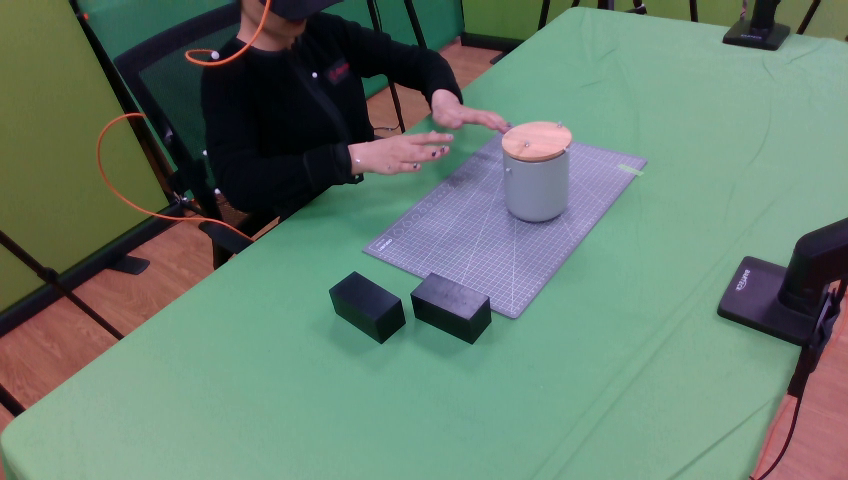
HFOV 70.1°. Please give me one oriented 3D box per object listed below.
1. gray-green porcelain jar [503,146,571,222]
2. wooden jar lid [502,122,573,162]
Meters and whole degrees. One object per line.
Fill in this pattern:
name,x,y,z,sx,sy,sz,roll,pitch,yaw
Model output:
gray-green porcelain jar,0.184,-0.102,0.983,0.106,0.127,0.105,-5,40,5
wooden jar lid,0.176,-0.150,0.940,0.108,0.021,0.108,-6,39,5
